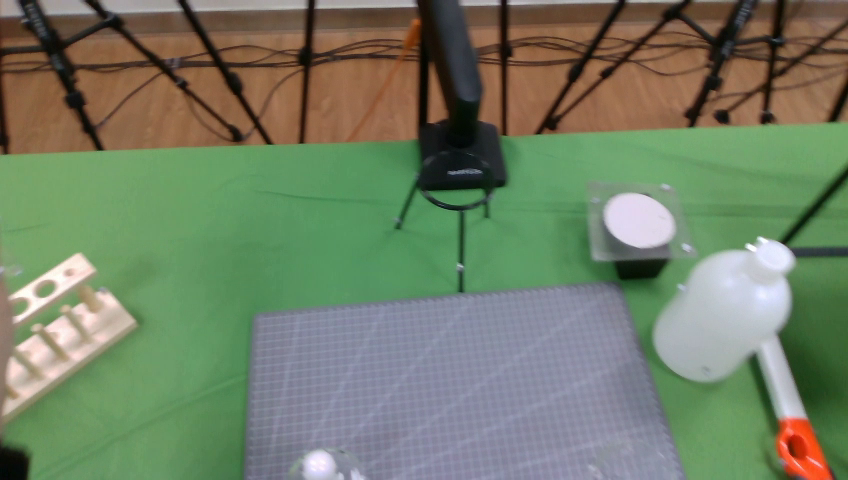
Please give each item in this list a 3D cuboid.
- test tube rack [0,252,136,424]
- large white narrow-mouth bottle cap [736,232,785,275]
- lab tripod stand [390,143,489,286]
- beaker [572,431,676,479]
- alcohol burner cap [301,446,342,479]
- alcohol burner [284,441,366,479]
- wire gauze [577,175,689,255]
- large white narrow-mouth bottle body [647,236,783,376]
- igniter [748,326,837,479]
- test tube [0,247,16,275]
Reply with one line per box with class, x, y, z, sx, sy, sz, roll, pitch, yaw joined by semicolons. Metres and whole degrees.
test tube rack;-0.437;0.126;0.626;0.066;0.086;0.242;38;62;21
large white narrow-mouth bottle cap;0.317;0.013;0.572;0.038;0.024;0.037;1;55;-2
lab tripod stand;0.028;-0.037;0.734;0.148;0.132;0.147;2;56;-3
beaker;0.179;0.234;0.572;0.084;0.101;0.073;-4;55;-4
alcohol burner cap;-0.091;0.199;0.529;0.034;0.048;0.033;0;50;0
alcohol burner;-0.092;0.219;0.559;0.078;0.120;0.077;3;54;-3
wire gauze;0.258;-0.033;0.759;0.121;0.011;0.124;2;55;-2
large white narrow-mouth bottle body;0.314;0.063;0.642;0.102;0.196;0.101;1;55;-1
igniter;0.397;0.199;0.655;0.057;0.025;0.274;6;54;-11
test tube;-0.344;-0.003;0.464;0.017;0.150;0.017;6;66;-14
